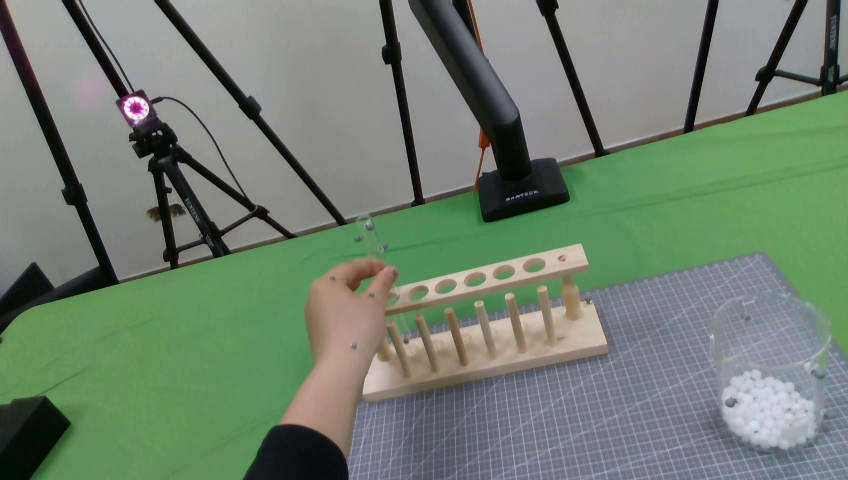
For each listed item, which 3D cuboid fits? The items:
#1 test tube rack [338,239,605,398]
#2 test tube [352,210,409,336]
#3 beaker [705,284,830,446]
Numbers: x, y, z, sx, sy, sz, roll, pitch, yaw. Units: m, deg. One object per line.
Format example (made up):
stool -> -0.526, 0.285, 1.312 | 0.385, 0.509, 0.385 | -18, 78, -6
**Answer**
test tube rack -> 0.043, 0.079, 0.593 | 0.242, 0.086, 0.066 | -14, 33, 10
test tube -> -0.040, 0.036, 0.584 | 0.017, 0.151, 0.017 | -12, 34, 8
beaker -> 0.246, 0.095, 0.442 | 0.084, 0.101, 0.073 | -24, 32, -5
